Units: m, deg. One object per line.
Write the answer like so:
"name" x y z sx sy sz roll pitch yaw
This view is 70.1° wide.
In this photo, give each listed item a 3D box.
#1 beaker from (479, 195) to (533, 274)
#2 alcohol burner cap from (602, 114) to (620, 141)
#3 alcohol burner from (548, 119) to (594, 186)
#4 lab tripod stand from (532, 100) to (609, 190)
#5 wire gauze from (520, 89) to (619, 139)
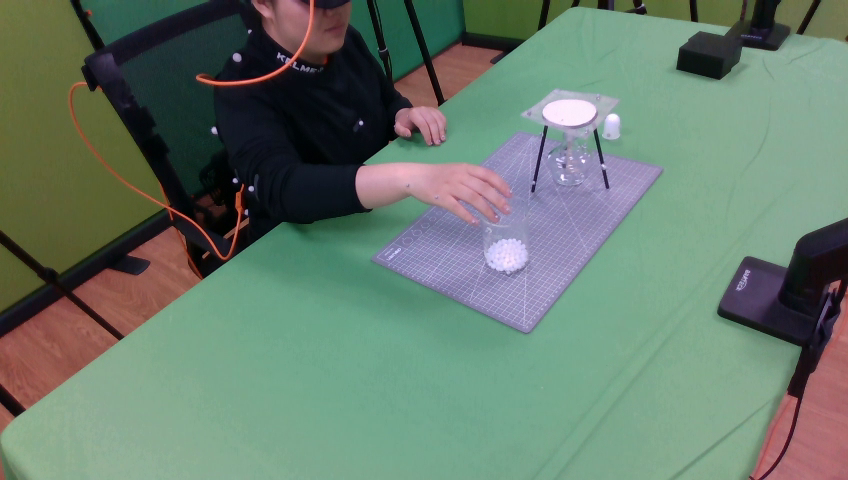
"beaker" 0.122 -0.007 0.904 0.074 0.101 0.083 -30 43 -23
"alcohol burner cap" 0.359 -0.217 1.157 0.034 0.048 0.033 -6 39 6
"alcohol burner" 0.252 -0.154 1.042 0.078 0.120 0.077 -7 40 6
"lab tripod stand" 0.251 -0.160 1.034 0.148 0.132 0.147 -4 39 4
"wire gauze" 0.239 -0.213 0.994 0.124 0.011 0.122 24 49 32
